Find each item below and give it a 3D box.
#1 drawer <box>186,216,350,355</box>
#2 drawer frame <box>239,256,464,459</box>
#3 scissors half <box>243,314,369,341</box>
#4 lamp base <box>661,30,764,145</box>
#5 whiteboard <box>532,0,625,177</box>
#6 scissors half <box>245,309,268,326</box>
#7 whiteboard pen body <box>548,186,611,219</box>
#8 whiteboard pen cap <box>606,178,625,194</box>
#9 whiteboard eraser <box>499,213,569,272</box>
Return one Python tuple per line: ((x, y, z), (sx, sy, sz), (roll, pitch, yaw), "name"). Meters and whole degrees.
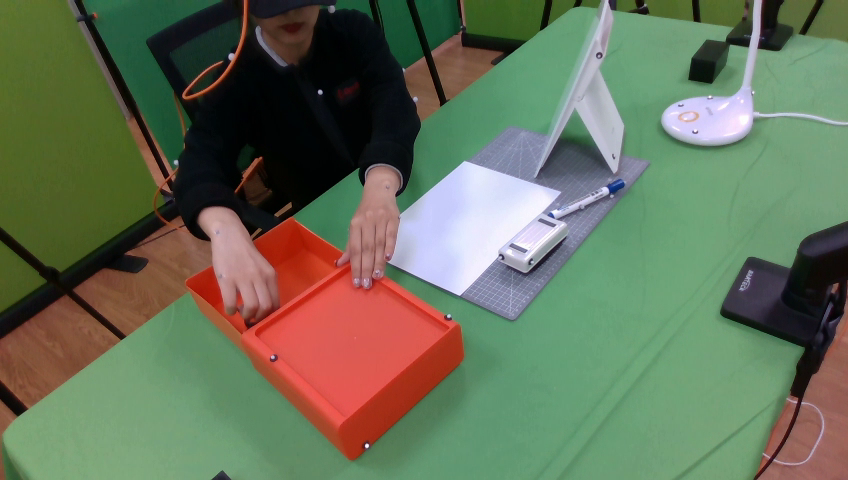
((-0.208, 0.075, 0.893), (0.195, 0.073, 0.210), (-36, 47, -29), "drawer")
((-0.093, 0.139, 0.788), (0.211, 0.083, 0.202), (29, 52, 36), "drawer frame")
((-0.164, 0.117, 0.852), (0.176, 0.040, 0.012), (-3, 33, -19), "scissors half")
((0.535, -0.287, 1.096), (0.179, 0.181, 0.159), (-10, 40, -4), "lamp base")
((0.320, -0.259, 1.050), (0.144, 0.306, 0.217), (21, 45, 5), "whiteboard")
((-0.166, 0.128, 0.857), (0.176, 0.040, 0.012), (13, 20, -25), "scissors half")
((0.267, -0.066, 1.004), (0.141, 0.017, 0.017), (-25, 43, -13), "whiteboard pen body")
((0.320, -0.090, 1.016), (0.033, 0.018, 0.018), (-27, 43, -13), "whiteboard pen cap")
((0.168, 0.006, 0.923), (0.055, 0.042, 0.113), (29, 53, 34), "whiteboard eraser")
